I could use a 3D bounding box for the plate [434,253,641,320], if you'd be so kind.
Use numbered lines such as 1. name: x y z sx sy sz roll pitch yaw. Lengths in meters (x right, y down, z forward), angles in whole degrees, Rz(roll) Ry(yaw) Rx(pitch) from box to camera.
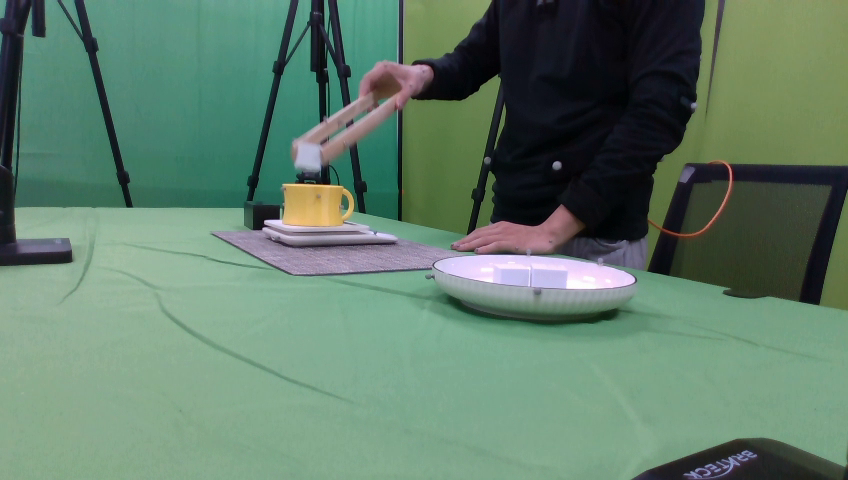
1. plate: 0.114 0.047 0.626 0.208 0.039 0.207 2 7 0

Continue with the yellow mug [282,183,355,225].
1. yellow mug: -0.171 -0.061 1.009 0.131 0.064 0.099 -2 7 -41

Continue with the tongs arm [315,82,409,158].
1. tongs arm: -0.088 -0.204 0.984 0.028 0.028 0.388 1 26 19

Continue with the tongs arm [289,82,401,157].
1. tongs arm: -0.114 -0.207 0.991 0.050 0.026 0.385 3 26 14

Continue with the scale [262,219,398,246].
1. scale: -0.160 -0.016 1.028 0.202 0.031 0.148 -2 9 -31
